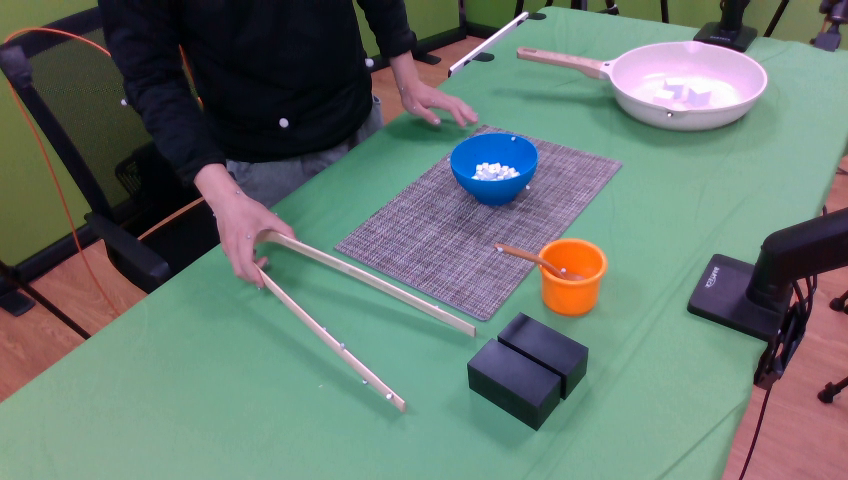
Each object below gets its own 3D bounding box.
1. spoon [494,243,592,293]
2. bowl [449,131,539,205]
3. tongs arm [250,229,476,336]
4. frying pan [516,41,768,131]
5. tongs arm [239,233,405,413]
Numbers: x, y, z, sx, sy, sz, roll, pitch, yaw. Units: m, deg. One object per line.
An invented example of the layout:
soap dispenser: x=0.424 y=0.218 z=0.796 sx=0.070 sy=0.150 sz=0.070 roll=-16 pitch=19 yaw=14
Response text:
spoon: x=0.162 y=0.034 z=0.808 sx=0.021 sy=0.195 sz=0.041 roll=-47 pitch=40 yaw=21
bowl: x=0.121 y=-0.114 z=1.034 sx=0.151 sy=0.077 sz=0.150 roll=-4 pitch=41 yaw=4
tongs arm: x=-0.097 y=0.057 z=0.879 sx=0.385 sy=0.028 sz=0.028 roll=22 pitch=55 yaw=22
frying pan: x=0.424 y=-0.338 z=1.236 sx=0.486 sy=0.103 sz=0.307 roll=19 pitch=45 yaw=15
tongs arm: x=-0.148 y=0.101 z=0.837 sx=0.382 sy=0.026 sz=0.051 roll=33 pitch=57 yaw=30
